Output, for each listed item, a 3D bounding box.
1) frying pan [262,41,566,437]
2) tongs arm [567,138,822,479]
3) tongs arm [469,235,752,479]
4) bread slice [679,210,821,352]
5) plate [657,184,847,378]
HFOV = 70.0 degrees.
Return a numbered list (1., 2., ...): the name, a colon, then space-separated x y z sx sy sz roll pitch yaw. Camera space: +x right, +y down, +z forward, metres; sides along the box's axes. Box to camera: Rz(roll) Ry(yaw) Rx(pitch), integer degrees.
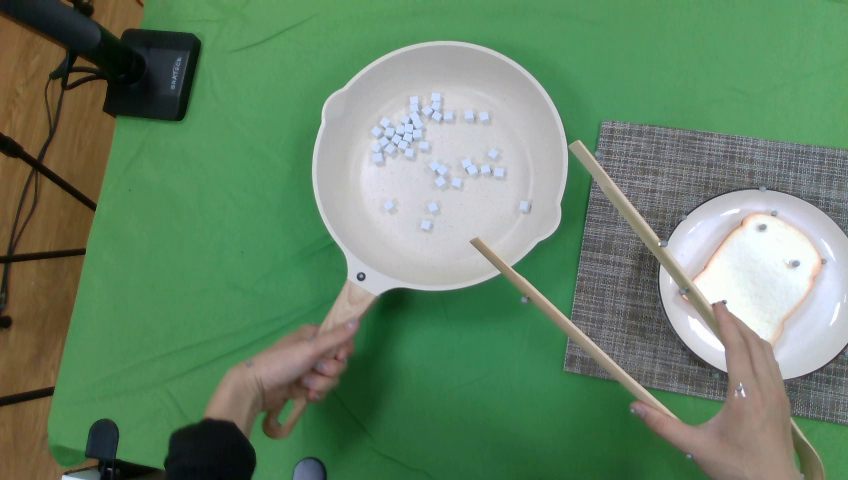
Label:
1. frying pan: -0.039 0.001 0.688 0.305 0.103 0.486 30 77 13
2. tongs arm: 0.237 0.073 0.540 0.051 0.026 0.385 -42 95 -12
3. tongs arm: 0.188 0.120 0.529 0.388 0.028 0.028 40 75 -6
4. bread slice: 0.358 0.035 0.659 0.106 0.018 0.134 33 89 11
5. plate: 0.359 0.043 0.656 0.207 0.039 0.207 -1 81 8
